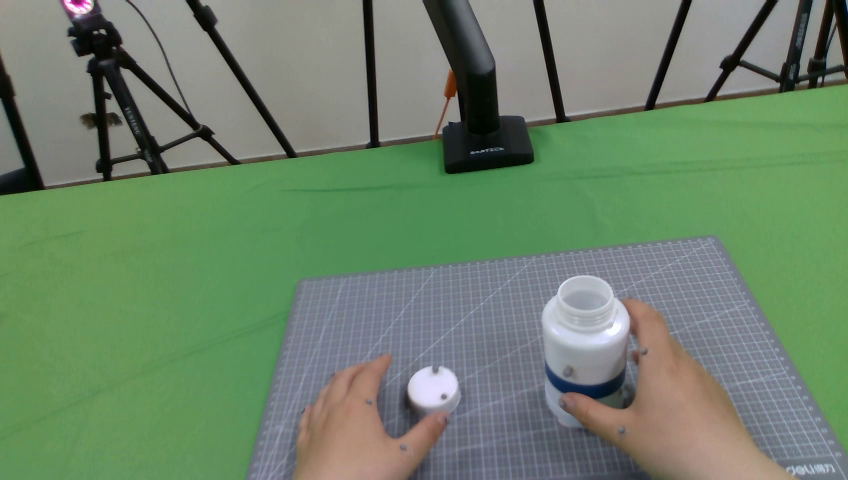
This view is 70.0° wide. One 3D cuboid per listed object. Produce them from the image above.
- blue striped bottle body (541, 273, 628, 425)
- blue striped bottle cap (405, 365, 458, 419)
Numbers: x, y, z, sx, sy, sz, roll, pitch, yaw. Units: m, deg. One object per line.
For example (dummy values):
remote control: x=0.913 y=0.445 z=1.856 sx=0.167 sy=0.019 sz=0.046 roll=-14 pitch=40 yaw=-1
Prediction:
blue striped bottle body: x=0.122 y=0.081 z=0.462 sx=0.063 sy=0.122 sz=0.062 roll=-6 pitch=38 yaw=5
blue striped bottle cap: x=0.007 y=0.129 z=0.517 sx=0.044 sy=0.021 sz=0.044 roll=-5 pitch=36 yaw=4
